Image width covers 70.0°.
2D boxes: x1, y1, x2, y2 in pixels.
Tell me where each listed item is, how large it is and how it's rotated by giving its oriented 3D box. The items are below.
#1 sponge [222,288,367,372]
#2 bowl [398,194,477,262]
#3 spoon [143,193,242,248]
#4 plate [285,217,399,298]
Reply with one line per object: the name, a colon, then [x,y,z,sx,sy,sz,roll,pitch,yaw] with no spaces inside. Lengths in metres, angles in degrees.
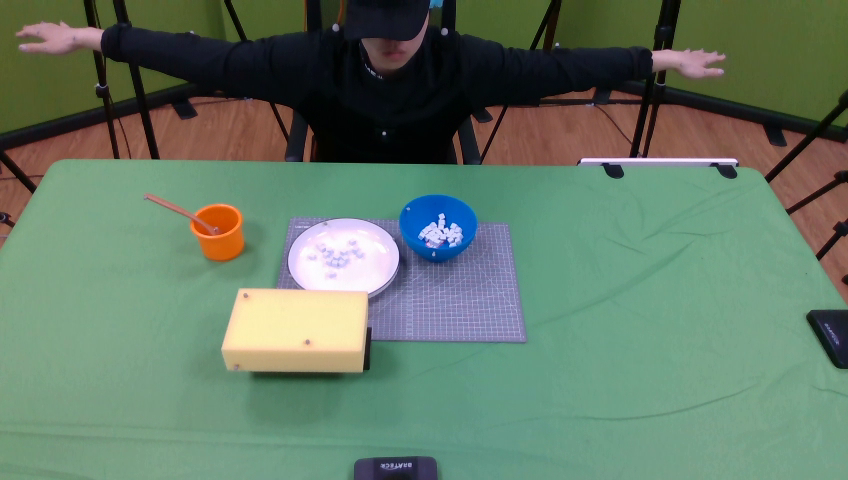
sponge: [-0.196,0.141,0.952,0.207,0.061,0.117,1,46,-3]
bowl: [0.023,-0.011,1.167,0.151,0.077,0.150,2,46,-2]
spoon: [-0.421,-0.037,1.113,0.021,0.195,0.041,-36,37,23]
plate: [-0.150,0.041,1.131,0.209,0.038,0.208,2,45,-2]
